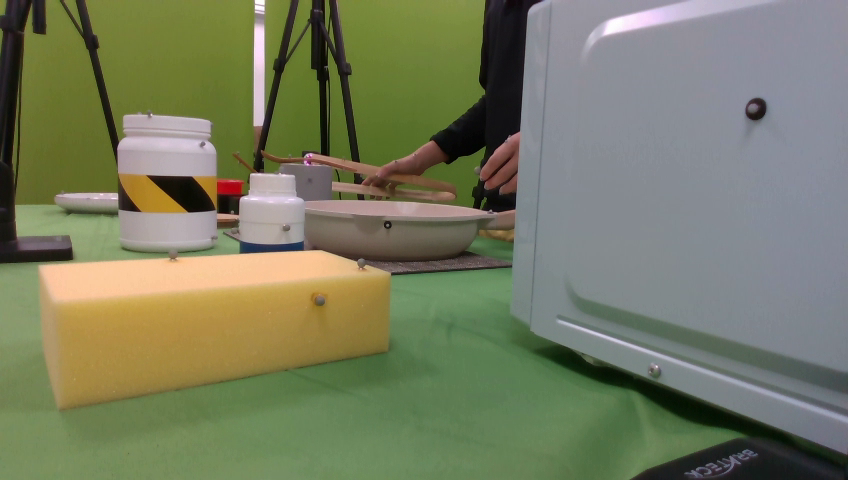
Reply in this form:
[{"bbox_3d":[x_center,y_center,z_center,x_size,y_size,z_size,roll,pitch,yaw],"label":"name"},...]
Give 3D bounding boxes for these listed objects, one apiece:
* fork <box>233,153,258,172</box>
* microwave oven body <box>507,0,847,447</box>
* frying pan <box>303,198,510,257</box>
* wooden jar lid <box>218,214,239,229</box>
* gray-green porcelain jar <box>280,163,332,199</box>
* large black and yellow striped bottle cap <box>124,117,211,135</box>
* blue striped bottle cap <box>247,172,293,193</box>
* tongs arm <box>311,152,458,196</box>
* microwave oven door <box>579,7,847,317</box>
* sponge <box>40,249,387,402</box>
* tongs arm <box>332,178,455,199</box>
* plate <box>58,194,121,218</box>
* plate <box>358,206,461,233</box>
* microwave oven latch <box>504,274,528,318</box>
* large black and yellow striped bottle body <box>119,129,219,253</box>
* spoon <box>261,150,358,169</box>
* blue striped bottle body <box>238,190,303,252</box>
[{"bbox_3d":[-0.396,-0.143,1.486,0.028,0.018,0.208,21,-25,45],"label":"fork"},{"bbox_3d":[0.331,-0.042,0.425,0.444,0.260,0.324,-2,8,-31],"label":"microwave oven body"},{"bbox_3d":[0.050,-0.035,0.915,0.487,0.102,0.307,-5,7,10],"label":"frying pan"},{"bbox_3d":[-0.404,-0.037,1.169,0.108,0.020,0.108,3,7,0],"label":"wooden jar lid"},{"bbox_3d":[-0.238,-0.092,1.221,0.106,0.126,0.106,2,7,0],"label":"gray-green porcelain jar"},{"bbox_3d":[-0.366,-0.163,0.866,0.115,0.019,0.115,3,7,0],"label":"large black and yellow striped bottle cap"},{"bbox_3d":[-0.152,-0.057,0.598,0.044,0.020,0.044,3,7,0],"label":"blue striped bottle cap"},{"bbox_3d":[-0.079,-0.148,1.389,0.387,0.026,0.050,7,-21,-28],"label":"tongs arm"},{"bbox_3d":[0.294,-0.067,0.570,0.358,0.243,0.039,-3,9,-31],"label":"microwave oven door"},{"bbox_3d":[-0.142,0.047,0.419,0.208,0.061,0.117,-3,8,-36],"label":"sponge"},{"bbox_3d":[-0.109,-0.128,1.449,0.389,0.027,0.028,4,-23,-19],"label":"tongs arm"},{"bbox_3d":[-0.671,-0.074,1.310,0.209,0.038,0.209,2,8,0],"label":"plate"},{"bbox_3d":[-0.030,-0.041,1.213,0.208,0.039,0.207,3,7,0],"label":"plate"},{"bbox_3d":[0.100,0.041,0.471,0.079,0.029,0.030,-1,8,-28],"label":"microwave oven latch"},{"bbox_3d":[-0.367,-0.080,0.876,0.131,0.184,0.130,1,7,0],"label":"large black and yellow striped bottle body"},{"bbox_3d":[-0.229,-0.161,1.222,0.194,0.021,0.041,3,0,-16],"label":"spoon"},{"bbox_3d":[-0.153,-0.007,0.606,0.063,0.120,0.063,2,7,0],"label":"blue striped bottle body"}]
